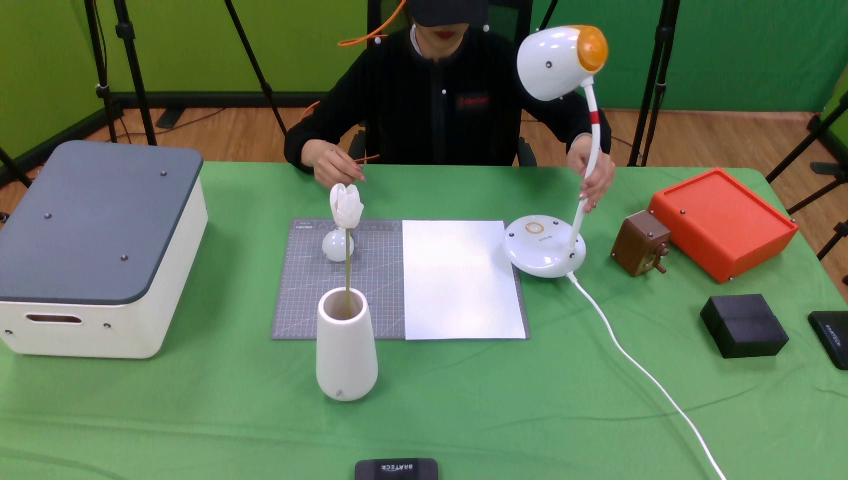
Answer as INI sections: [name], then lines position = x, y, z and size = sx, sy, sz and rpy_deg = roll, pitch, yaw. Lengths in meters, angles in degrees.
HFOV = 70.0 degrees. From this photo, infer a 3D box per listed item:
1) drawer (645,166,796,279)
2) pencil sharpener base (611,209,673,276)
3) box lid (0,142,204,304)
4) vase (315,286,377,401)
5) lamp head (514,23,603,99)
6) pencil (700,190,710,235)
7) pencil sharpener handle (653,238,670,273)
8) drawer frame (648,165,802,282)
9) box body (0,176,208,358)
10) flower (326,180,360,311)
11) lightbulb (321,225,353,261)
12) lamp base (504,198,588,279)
[drawer]
position = 0.599, -0.040, 1.236
size = 0.195, 0.073, 0.210
rpy_deg = -21, 52, -23
[pencil sharpener base]
position = 0.416, 0.007, 1.158
size = 0.061, 0.107, 0.076
rpy_deg = -21, 51, -22
[box lid]
position = -0.534, -0.044, 0.994
size = 0.263, 0.015, 0.369
rpy_deg = 3, 45, -3
[vase]
position = -0.119, 0.159, 0.911
size = 0.098, 0.201, 0.097
rpy_deg = 2, 47, -2
[lamp head]
position = 0.221, -0.286, 0.956
size = 0.112, 0.113, 0.122
rpy_deg = -28, 18, -27
[pencil]
position = 0.583, -0.058, 1.256
size = 0.012, 0.012, 0.193
rpy_deg = 16, 34, 12
[pencil sharpener handle]
position = 0.444, 0.030, 1.120
size = 0.036, 0.068, 0.030
rpy_deg = -25, 52, -17
[drawer frame]
position = 0.603, -0.040, 1.233
size = 0.202, 0.083, 0.212
rpy_deg = -21, 51, -23
[box body]
position = -0.546, 0.017, 1.045
size = 0.254, 0.161, 0.361
rpy_deg = 2, 46, -2
[flower]
position = -0.110, 0.086, 0.867
size = 0.044, 0.363, 0.038
rpy_deg = 23, 34, 36
[lightbulb]
position = -0.163, -0.001, 1.164
size = 0.059, 0.060, 0.107
rpy_deg = 4, 30, 0
[lamp base]
position = 0.243, -0.039, 1.101
size = 0.161, 0.181, 0.178
rpy_deg = -24, 54, -24
